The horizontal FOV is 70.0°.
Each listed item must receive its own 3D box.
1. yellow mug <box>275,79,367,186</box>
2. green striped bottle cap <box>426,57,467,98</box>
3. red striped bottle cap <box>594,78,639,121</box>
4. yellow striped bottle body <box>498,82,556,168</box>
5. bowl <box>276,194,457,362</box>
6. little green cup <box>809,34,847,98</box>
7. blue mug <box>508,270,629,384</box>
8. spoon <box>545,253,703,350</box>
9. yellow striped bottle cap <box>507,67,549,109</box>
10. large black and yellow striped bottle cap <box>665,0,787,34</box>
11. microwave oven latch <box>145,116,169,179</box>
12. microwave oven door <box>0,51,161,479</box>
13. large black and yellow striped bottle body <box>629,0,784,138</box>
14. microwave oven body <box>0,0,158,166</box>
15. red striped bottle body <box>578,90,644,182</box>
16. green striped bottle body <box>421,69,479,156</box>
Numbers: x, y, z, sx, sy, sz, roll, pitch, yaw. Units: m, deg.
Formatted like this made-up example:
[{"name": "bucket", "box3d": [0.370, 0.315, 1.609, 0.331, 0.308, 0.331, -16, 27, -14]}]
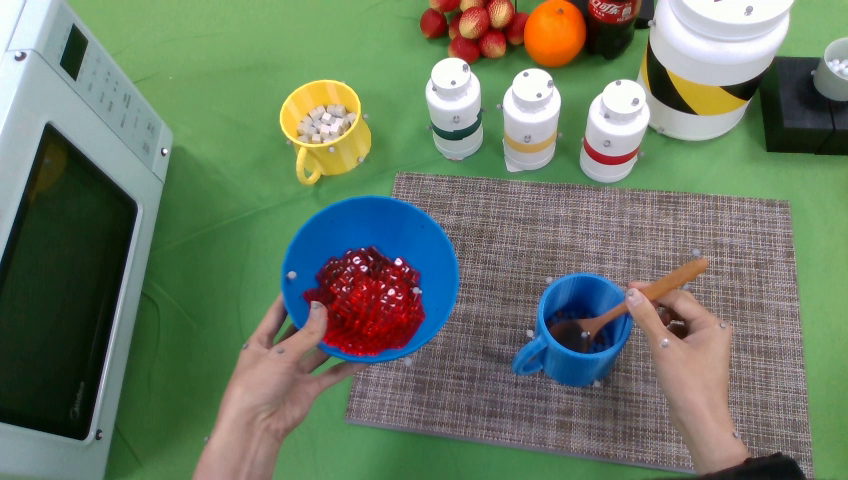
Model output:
[{"name": "yellow mug", "box3d": [-0.132, -0.127, 0.746, 0.099, 0.064, 0.130, 15, 68, 13]}, {"name": "green striped bottle cap", "box3d": [0.024, -0.179, 0.663, 0.044, 0.020, 0.044, -3, 63, 6]}, {"name": "red striped bottle cap", "box3d": [0.199, -0.145, 0.624, 0.044, 0.018, 0.044, -1, 64, 3]}, {"name": "yellow striped bottle body", "box3d": [0.117, -0.140, 0.691, 0.063, 0.121, 0.062, -3, 64, 7]}, {"name": "bowl", "box3d": [-0.049, 0.043, 0.541, 0.151, 0.077, 0.150, 2, 67, -3]}, {"name": "little green cup", "box3d": [0.455, -0.187, 0.659, 0.061, 0.039, 0.061, -2, 63, 4]}, {"name": "blue mug", "box3d": [0.132, 0.094, 0.583, 0.116, 0.107, 0.081, -28, 64, -6]}, {"name": "spoon", "box3d": [0.170, 0.063, 0.544, 0.022, 0.194, 0.041, -7, 65, -34]}, {"name": "yellow striped bottle cap", "box3d": [0.111, -0.162, 0.644, 0.044, 0.019, 0.044, -2, 66, 6]}, {"name": "large black and yellow striped bottle cap", "box3d": [0.295, -0.250, 0.591, 0.115, 0.019, 0.114, -3, 63, 6]}, {"name": "microwave oven latch", "box3d": [-0.344, -0.116, 0.763, 0.030, 0.030, 0.078, -2, 65, 6]}, {"name": "microwave oven door", "box3d": [-0.356, 0.039, 0.579, 0.039, 0.246, 0.353, -4, 64, 6]}, {"name": "large black and yellow striped bottle body", "box3d": [0.306, -0.215, 0.667, 0.130, 0.185, 0.129, -3, 64, 6]}, {"name": "microwave oven body", "box3d": [-0.501, 0.011, 0.615, 0.326, 0.262, 0.438, -3, 65, 5]}, {"name": "red striped bottle body", "box3d": [0.206, -0.122, 0.671, 0.063, 0.121, 0.062, -4, 63, 8]}, {"name": "green striped bottle body", "box3d": [0.031, -0.156, 0.710, 0.063, 0.120, 0.062, -3, 64, 6]}]
